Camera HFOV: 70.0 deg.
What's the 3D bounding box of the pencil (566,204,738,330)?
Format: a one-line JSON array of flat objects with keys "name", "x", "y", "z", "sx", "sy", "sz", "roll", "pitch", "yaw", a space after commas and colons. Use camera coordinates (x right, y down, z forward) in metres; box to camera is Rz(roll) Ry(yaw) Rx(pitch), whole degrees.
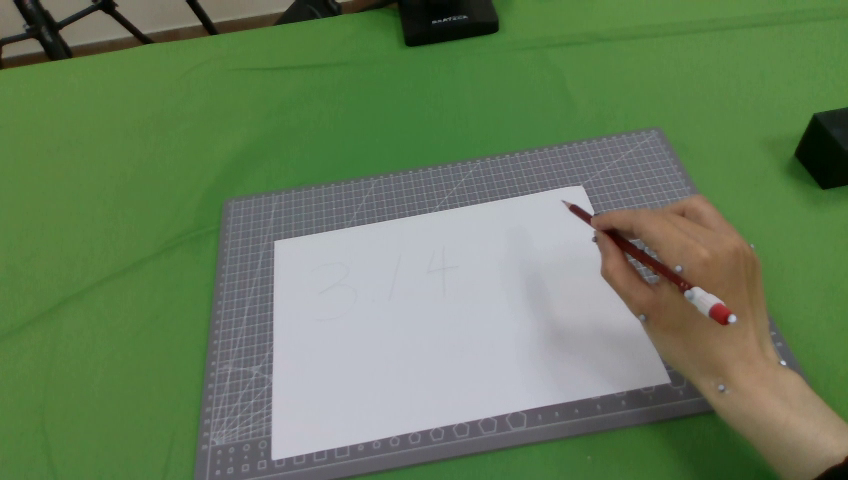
[{"name": "pencil", "x": 0.142, "y": 0.008, "z": 0.411, "sx": 0.012, "sy": 0.012, "sz": 0.192, "roll": -18, "pitch": 27, "yaw": -8}]
